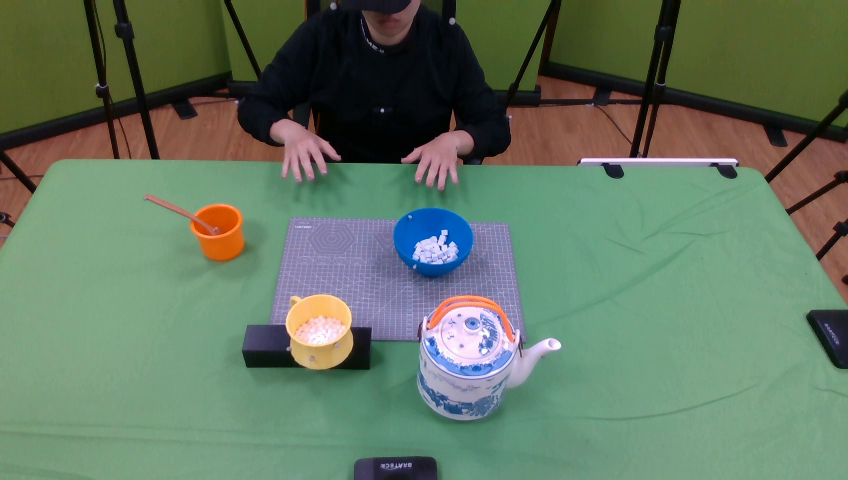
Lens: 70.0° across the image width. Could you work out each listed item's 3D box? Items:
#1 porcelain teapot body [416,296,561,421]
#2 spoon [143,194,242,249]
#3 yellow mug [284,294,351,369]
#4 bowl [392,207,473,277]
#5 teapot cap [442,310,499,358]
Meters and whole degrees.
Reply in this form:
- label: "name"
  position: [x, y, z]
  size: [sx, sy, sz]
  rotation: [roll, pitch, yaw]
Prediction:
- label: "porcelain teapot body"
  position: [0.094, 0.164, 0.907]
  size: [0.205, 0.226, 0.144]
  rotation: [6, 45, 1]
- label: "spoon"
  position: [-0.421, -0.036, 1.112]
  size: [0.021, 0.195, 0.041]
  rotation: [-36, 38, 24]
- label: "yellow mug"
  position: [-0.175, 0.134, 0.955]
  size: [0.100, 0.064, 0.130]
  rotation: [-33, 56, -31]
- label: "bowl"
  position: [0.014, 0.016, 1.140]
  size: [0.151, 0.077, 0.150]
  rotation: [2, 46, -2]
- label: "teapot cap"
  position: [0.068, 0.133, 0.880]
  size: [0.085, 0.044, 0.084]
  rotation: [4, 45, -4]
